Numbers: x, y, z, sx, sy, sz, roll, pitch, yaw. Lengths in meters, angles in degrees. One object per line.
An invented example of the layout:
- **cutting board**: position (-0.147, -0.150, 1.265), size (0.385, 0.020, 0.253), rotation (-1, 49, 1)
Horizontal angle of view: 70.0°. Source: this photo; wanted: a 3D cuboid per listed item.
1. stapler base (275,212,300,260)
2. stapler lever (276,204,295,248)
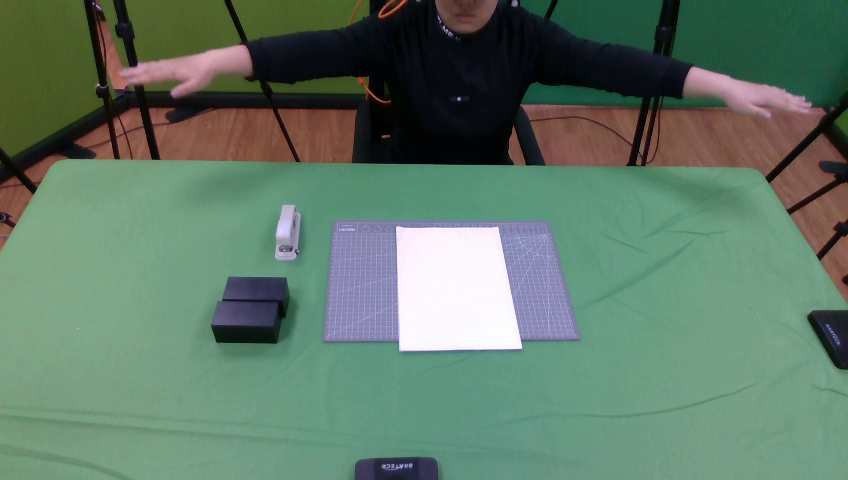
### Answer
- **stapler base**: position (-0.269, -0.016, 1.190), size (0.041, 0.024, 0.129), rotation (0, 44, -7)
- **stapler lever**: position (-0.268, -0.034, 1.174), size (0.027, 0.040, 0.117), rotation (0, 45, -7)
